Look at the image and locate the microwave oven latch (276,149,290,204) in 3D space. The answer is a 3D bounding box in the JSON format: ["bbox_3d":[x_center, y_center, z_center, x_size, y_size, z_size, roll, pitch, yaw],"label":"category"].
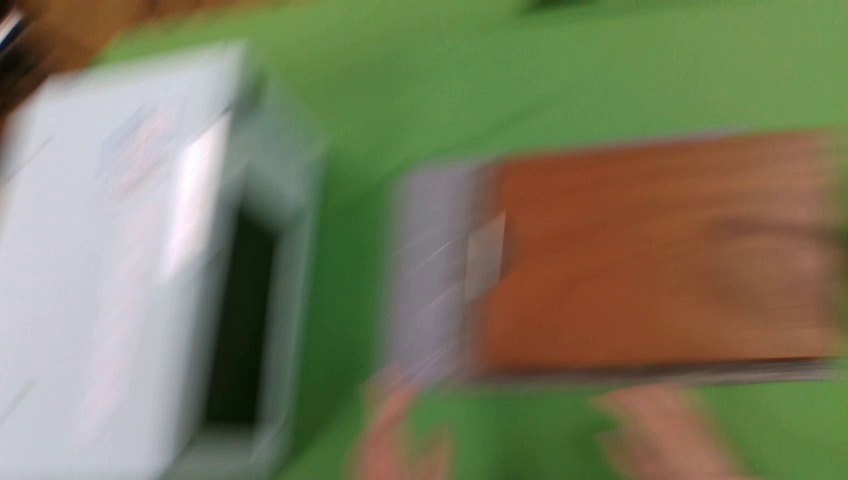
[{"bbox_3d":[-0.215,-0.092,0.897,0.030,0.030,0.078,-8,72,13],"label":"microwave oven latch"}]

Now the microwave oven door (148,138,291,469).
[{"bbox_3d":[-0.234,0.086,0.739,0.039,0.246,0.353,-8,72,14],"label":"microwave oven door"}]

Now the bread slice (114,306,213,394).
[{"bbox_3d":[-0.360,0.144,0.825,0.131,0.019,0.104,10,81,13],"label":"bread slice"}]

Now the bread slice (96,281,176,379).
[{"bbox_3d":[-0.359,0.121,0.753,0.134,0.018,0.106,-19,70,24],"label":"bread slice"}]

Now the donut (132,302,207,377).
[{"bbox_3d":[-0.334,0.130,0.794,0.099,0.048,0.099,0,89,4],"label":"donut"}]

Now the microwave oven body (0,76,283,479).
[{"bbox_3d":[-0.375,0.067,0.790,0.325,0.262,0.439,-7,72,13],"label":"microwave oven body"}]
